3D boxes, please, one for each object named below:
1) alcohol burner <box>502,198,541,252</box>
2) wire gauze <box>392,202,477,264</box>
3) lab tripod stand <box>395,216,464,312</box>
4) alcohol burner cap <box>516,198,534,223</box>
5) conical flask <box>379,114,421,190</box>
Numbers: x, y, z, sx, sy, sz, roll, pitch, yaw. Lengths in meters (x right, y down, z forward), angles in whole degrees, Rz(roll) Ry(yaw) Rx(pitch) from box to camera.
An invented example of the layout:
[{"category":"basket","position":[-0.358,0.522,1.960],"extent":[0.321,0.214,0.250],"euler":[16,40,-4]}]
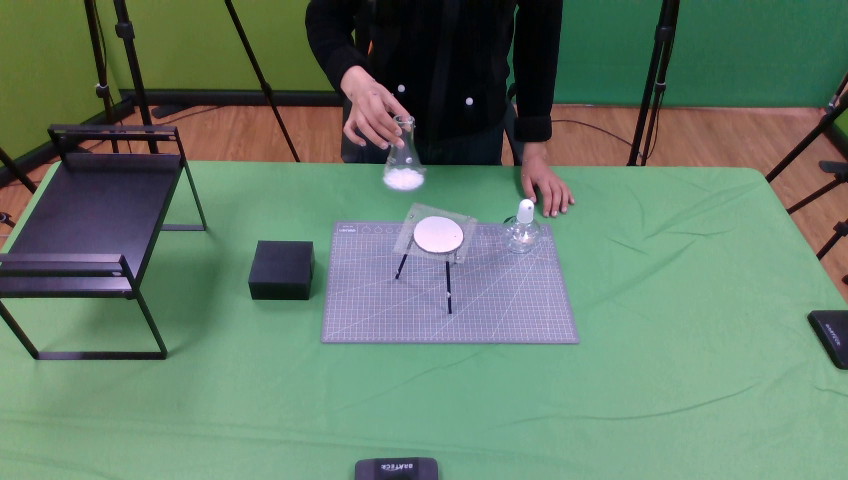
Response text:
[{"category":"alcohol burner","position":[0.192,-0.033,1.178],"extent":[0.078,0.119,0.077],"euler":[3,45,-2]},{"category":"wire gauze","position":[0.021,-0.011,1.037],"extent":[0.121,0.011,0.124],"euler":[14,47,8]},{"category":"lab tripod stand","position":[0.023,0.037,1.084],"extent":[0.148,0.132,0.147],"euler":[4,46,-4]},{"category":"alcohol burner cap","position":[0.194,-0.059,1.152],"extent":[0.034,0.048,0.033],"euler":[0,50,1]},{"category":"conical flask","position":[-0.039,-0.152,1.032],"extent":[0.075,0.122,0.075],"euler":[3,36,-2]}]
